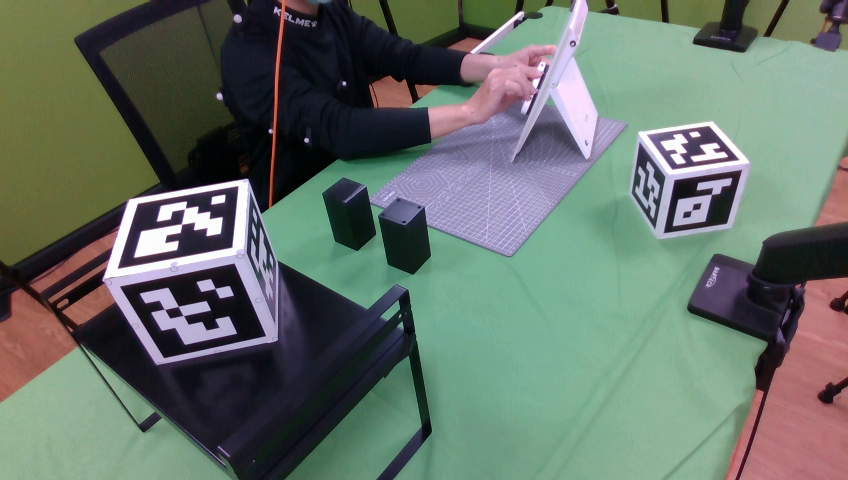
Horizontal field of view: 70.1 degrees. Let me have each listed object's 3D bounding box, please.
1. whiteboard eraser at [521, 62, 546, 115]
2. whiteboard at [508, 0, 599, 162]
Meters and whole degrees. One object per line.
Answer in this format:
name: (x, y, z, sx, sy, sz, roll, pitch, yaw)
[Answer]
whiteboard eraser: (0.208, -0.287, 1.145, 0.019, 0.101, 0.041, 20, 4, -1)
whiteboard: (0.285, -0.289, 1.090, 0.144, 0.305, 0.217, 22, 45, 4)
